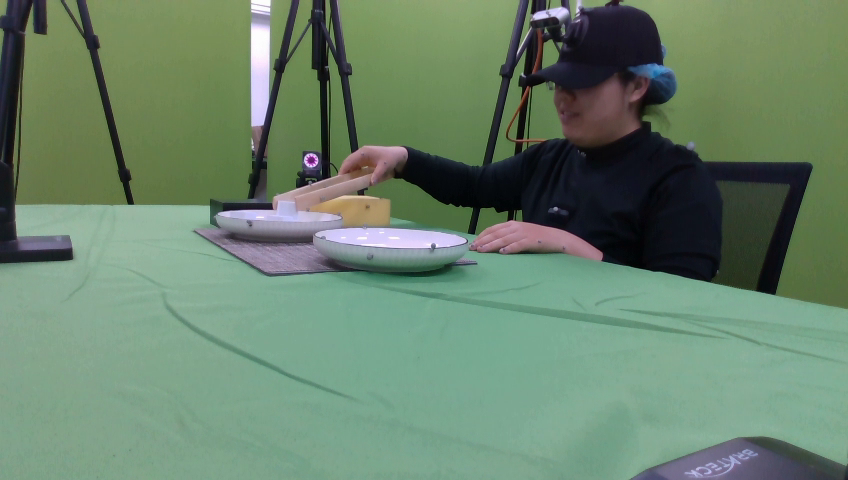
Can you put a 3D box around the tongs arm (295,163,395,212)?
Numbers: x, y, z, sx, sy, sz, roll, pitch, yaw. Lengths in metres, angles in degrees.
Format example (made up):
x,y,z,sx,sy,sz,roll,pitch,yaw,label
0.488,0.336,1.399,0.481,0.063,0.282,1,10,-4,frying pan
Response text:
x,y,z,sx,sy,sz,roll,pitch,yaw,label
-0.142,-0.110,1.199,0.028,0.028,0.389,1,16,24,tongs arm

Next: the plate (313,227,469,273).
x,y,z,sx,sy,sz,roll,pitch,yaw,label
-0.044,0.012,0.807,0.209,0.038,0.209,2,7,0,plate

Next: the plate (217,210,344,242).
x,y,z,sx,sy,sz,roll,pitch,yaw,label
-0.241,-0.024,1.026,0.208,0.039,0.207,3,7,0,plate

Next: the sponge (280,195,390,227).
x,y,z,sx,sy,sz,roll,pitch,yaw,label
-0.189,-0.063,1.291,0.208,0.061,0.117,-2,9,-35,sponge

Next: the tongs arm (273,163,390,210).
x,y,z,sx,sy,sz,roll,pitch,yaw,label
-0.170,-0.112,1.210,0.050,0.026,0.386,4,17,21,tongs arm
